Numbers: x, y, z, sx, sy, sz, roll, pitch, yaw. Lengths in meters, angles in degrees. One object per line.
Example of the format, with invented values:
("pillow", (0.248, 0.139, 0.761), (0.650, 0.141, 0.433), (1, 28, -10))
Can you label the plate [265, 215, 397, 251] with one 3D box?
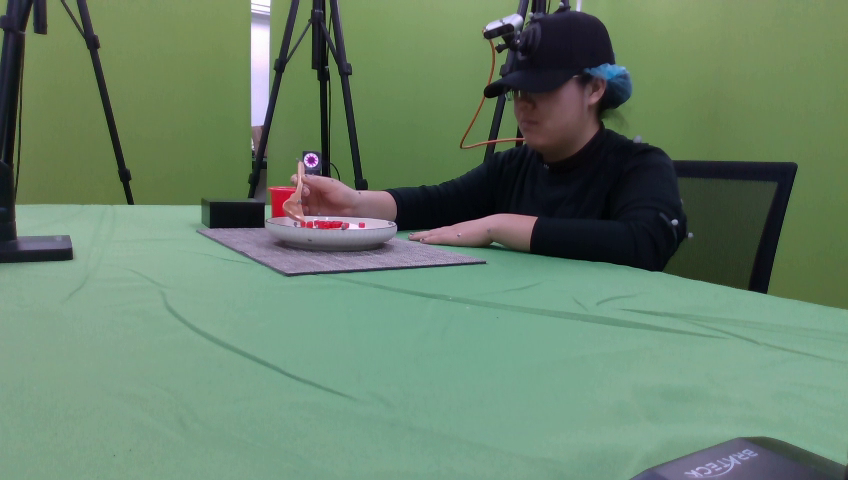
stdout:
("plate", (-0.147, -0.012, 0.963), (0.209, 0.038, 0.209), (3, 7, 0))

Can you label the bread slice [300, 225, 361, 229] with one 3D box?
("bread slice", (-0.154, -0.011, 0.973), (0.132, 0.019, 0.104), (-1, 7, -31))

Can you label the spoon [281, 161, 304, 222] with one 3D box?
("spoon", (-0.213, -0.087, 1.019), (0.042, 0.021, 0.193), (33, 29, -25))
